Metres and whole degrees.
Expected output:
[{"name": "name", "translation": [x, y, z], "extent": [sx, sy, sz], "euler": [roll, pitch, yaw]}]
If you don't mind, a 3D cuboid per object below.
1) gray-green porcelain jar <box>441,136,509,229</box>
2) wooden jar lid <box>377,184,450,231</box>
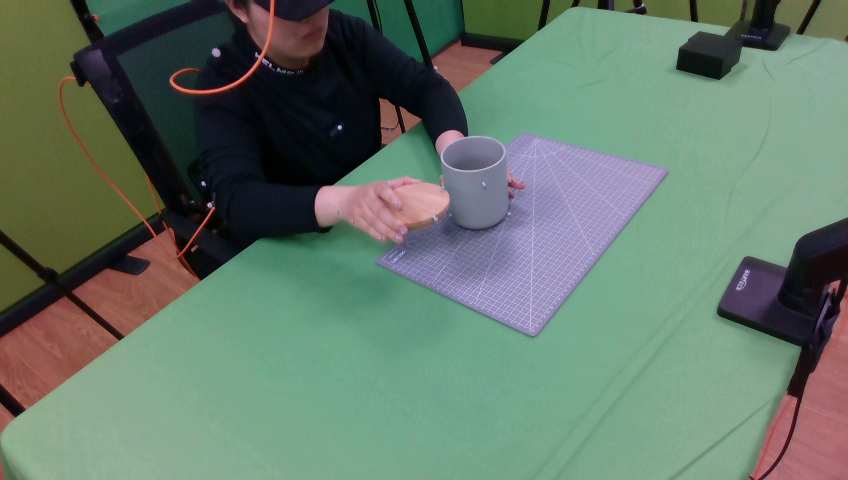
[{"name": "gray-green porcelain jar", "translation": [0.086, -0.089, 0.988], "extent": [0.106, 0.127, 0.105], "euler": [-5, 40, 5]}, {"name": "wooden jar lid", "translation": [-0.014, -0.047, 0.887], "extent": [0.108, 0.021, 0.108], "euler": [-6, 36, 5]}]
